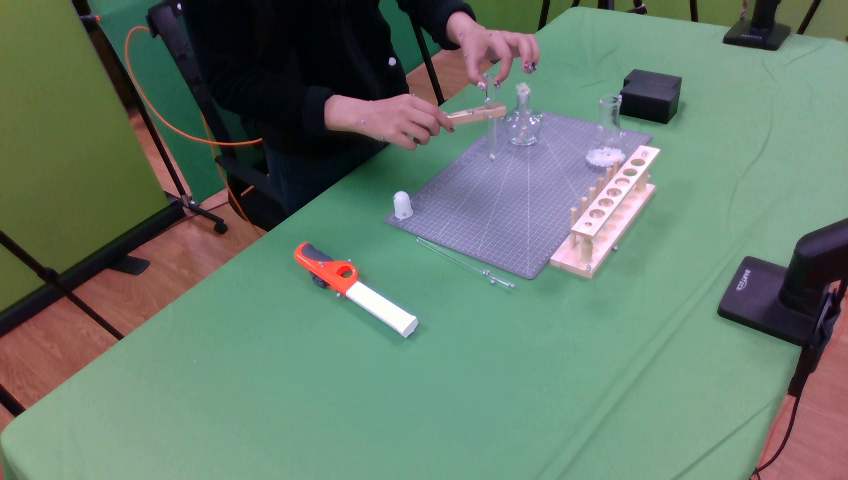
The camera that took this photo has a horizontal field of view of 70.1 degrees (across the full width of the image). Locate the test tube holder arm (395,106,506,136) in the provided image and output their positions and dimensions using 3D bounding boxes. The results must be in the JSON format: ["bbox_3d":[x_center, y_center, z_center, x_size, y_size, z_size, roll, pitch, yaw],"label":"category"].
[{"bbox_3d":[0.042,-0.185,0.937,0.179,0.015,0.013,-13,34,-11],"label":"test tube holder arm"}]

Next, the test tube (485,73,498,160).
[{"bbox_3d":[0.108,-0.192,0.961,0.017,0.151,0.017,-4,40,4],"label":"test tube"}]

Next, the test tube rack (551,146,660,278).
[{"bbox_3d":[0.286,-0.053,0.943,0.066,0.085,0.243,21,49,32],"label":"test tube rack"}]

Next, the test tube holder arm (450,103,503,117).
[{"bbox_3d":[0.083,-0.199,0.951,0.088,0.015,0.010,-17,35,-16],"label":"test tube holder arm"}]

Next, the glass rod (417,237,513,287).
[{"bbox_3d":[0.059,0.032,0.944,0.198,0.008,0.008,26,52,38],"label":"glass rod"}]

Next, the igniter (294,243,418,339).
[{"bbox_3d":[-0.114,0.070,0.919,0.274,0.025,0.057,29,63,37],"label":"igniter"}]

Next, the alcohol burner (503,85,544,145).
[{"bbox_3d":[0.191,-0.243,1.160,0.078,0.119,0.077,-4,40,4],"label":"alcohol burner"}]

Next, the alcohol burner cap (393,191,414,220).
[{"bbox_3d":[-0.037,-0.062,1.045,0.034,0.048,0.033,-5,40,5],"label":"alcohol burner cap"}]

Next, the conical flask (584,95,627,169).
[{"bbox_3d":[0.324,-0.192,1.066,0.075,0.122,0.075,-6,40,5],"label":"conical flask"}]
